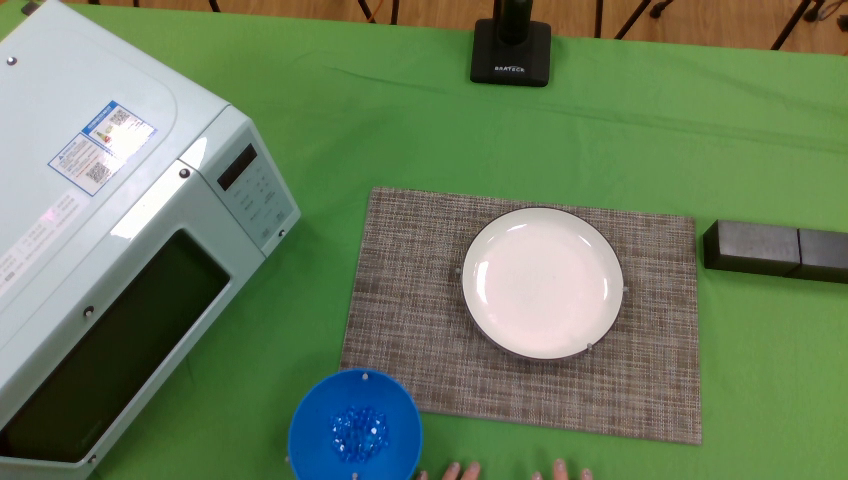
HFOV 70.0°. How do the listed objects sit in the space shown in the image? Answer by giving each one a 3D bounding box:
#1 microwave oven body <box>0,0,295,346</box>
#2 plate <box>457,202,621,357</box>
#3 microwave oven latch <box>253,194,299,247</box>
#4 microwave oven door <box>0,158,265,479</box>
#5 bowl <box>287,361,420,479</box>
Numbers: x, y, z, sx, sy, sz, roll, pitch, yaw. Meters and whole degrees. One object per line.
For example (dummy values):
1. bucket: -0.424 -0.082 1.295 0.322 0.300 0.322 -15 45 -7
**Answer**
1. microwave oven body: -0.426 -0.004 0.705 0.324 0.262 0.440 32 73 13
2. plate: 0.146 0.051 0.786 0.207 0.039 0.206 0 68 1
3. microwave oven latch: -0.201 -0.030 0.813 0.030 0.030 0.079 33 74 13
4. microwave oven door: -0.329 0.101 0.655 0.039 0.245 0.355 31 73 14
5. bowl: -0.077 0.223 0.708 0.151 0.077 0.150 -1 68 2
